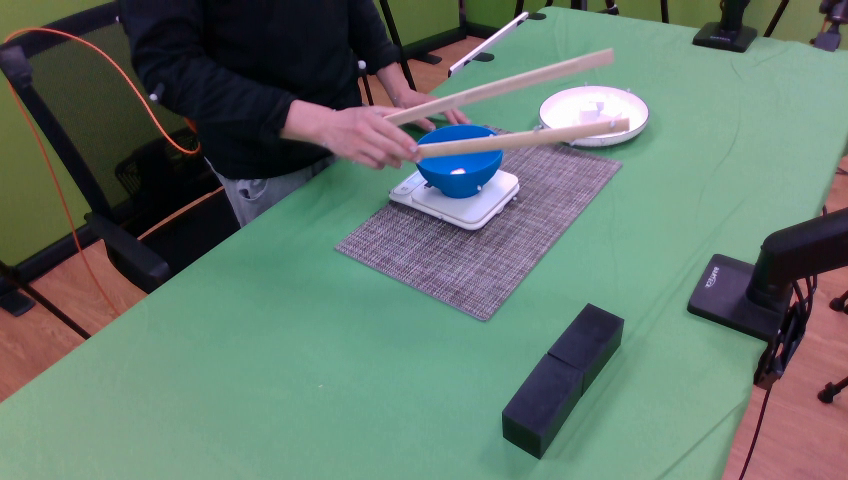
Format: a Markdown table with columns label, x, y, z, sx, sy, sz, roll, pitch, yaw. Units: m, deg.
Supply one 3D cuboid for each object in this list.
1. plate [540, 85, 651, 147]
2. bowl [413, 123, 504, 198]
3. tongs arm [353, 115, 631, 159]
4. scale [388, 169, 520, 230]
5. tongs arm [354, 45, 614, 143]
| label | x | y | z | sx | sy | sz | roll | pitch | yaw |
| --- | --- | --- | --- | --- | --- | --- | --- | --- | --- |
| plate | 0.333 | -0.238 | 1.186 | 0.207 | 0.039 | 0.206 | -4 | 41 | 4 |
| bowl | 0.060 | -0.123 | 1.007 | 0.151 | 0.077 | 0.150 | -5 | 41 | 5 |
| tongs arm | 0.082 | -0.148 | 0.833 | 0.383 | 0.027 | 0.050 | -6 | 58 | 16 |
| scale | 0.050 | -0.090 | 1.051 | 0.199 | 0.032 | 0.149 | 24 | 49 | 31 |
| tongs arm | 0.082 | -0.211 | 0.875 | 0.387 | 0.028 | 0.028 | -16 | 60 | 9 |
